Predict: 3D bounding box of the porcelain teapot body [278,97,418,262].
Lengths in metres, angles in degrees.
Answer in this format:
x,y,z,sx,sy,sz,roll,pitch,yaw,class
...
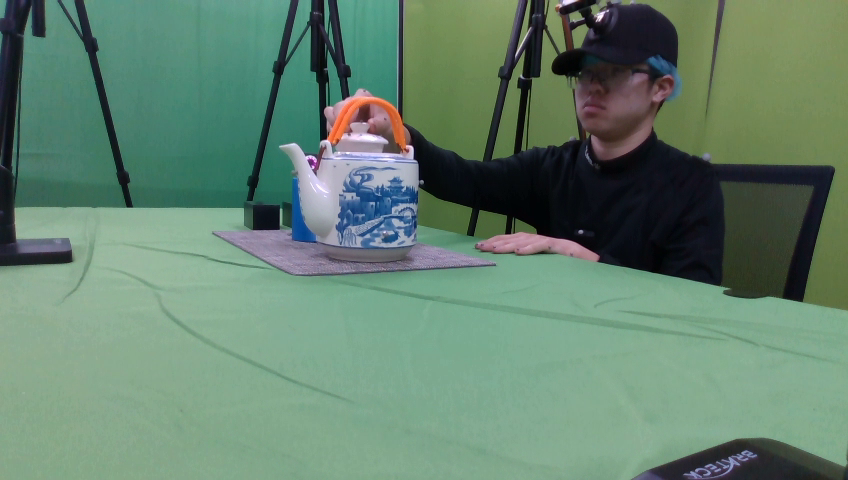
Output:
x,y,z,sx,sy,sz,roll,pitch,yaw,class
-0.104,-0.086,0.842,0.206,0.225,0.144,-4,10,-38,porcelain teapot body

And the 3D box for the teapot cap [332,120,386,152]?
x,y,z,sx,sy,sz,roll,pitch,yaw,class
-0.097,-0.151,0.876,0.085,0.044,0.085,3,9,0,teapot cap

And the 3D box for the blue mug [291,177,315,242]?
x,y,z,sx,sy,sz,roll,pitch,yaw,class
-0.169,-0.054,1.038,0.117,0.106,0.082,-2,8,-31,blue mug
